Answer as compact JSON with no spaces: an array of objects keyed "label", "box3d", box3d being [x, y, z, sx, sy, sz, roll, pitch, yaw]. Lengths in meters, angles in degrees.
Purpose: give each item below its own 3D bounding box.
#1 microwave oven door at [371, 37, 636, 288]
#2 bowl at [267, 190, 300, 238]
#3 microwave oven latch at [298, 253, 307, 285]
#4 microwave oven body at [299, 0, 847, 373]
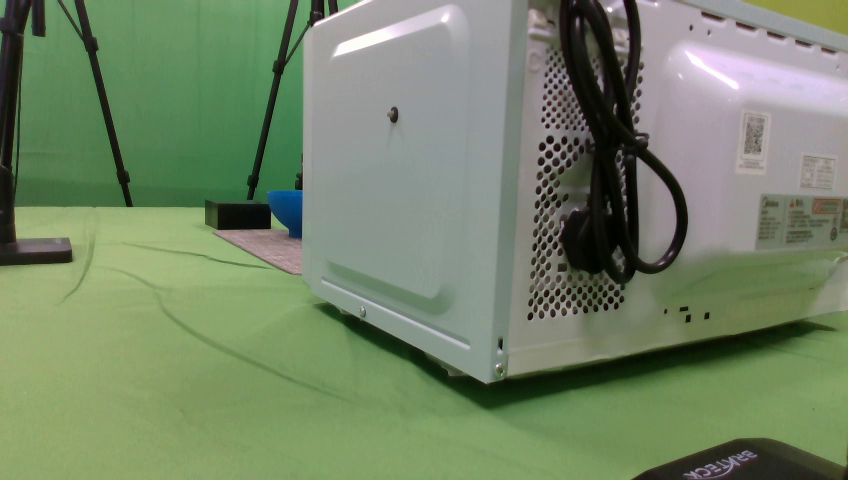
[{"label":"microwave oven door","box3d":[0.109,-0.080,0.687,0.358,0.243,0.039,-2,9,-33]},{"label":"bowl","box3d":[-0.202,-0.046,1.069,0.151,0.077,0.151,3,7,0]},{"label":"microwave oven latch","box3d":[-0.081,0.027,0.582,0.079,0.029,0.030,-1,7,-32]},{"label":"microwave oven body","box3d":[0.151,-0.055,0.543,0.444,0.260,0.324,-2,7,-33]}]
